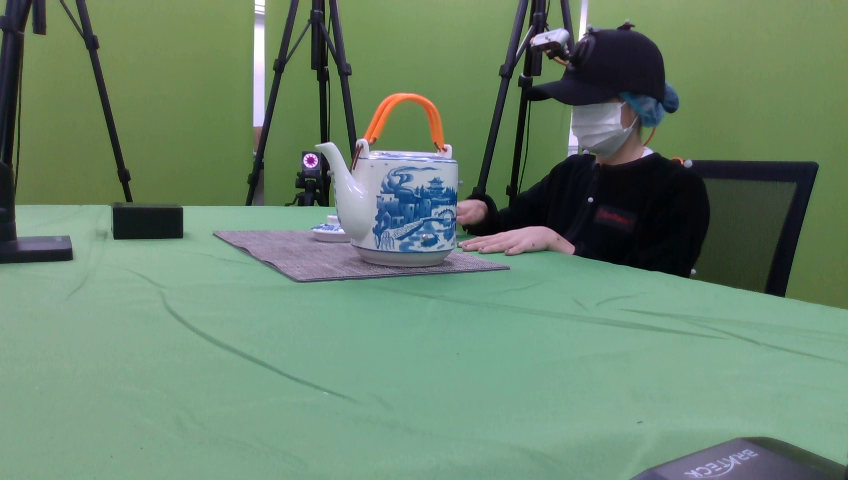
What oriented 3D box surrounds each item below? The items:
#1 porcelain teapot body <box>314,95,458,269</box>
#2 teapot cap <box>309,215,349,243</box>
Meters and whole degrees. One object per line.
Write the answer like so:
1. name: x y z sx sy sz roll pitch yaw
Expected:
1. porcelain teapot body: -0.049 -0.079 0.800 0.206 0.225 0.144 -3 9 -37
2. teapot cap: -0.151 -0.020 1.014 0.085 0.044 0.085 3 10 0
